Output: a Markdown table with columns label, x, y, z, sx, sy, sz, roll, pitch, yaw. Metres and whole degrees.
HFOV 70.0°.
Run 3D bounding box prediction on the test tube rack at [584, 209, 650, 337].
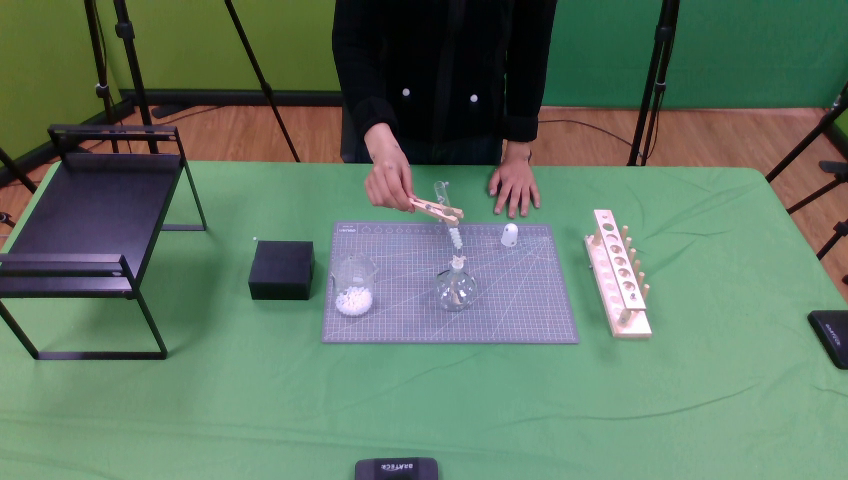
| label | x | y | z | sx | sy | sz | roll | pitch | yaw |
| --- | --- | --- | --- | --- | --- | --- | --- | --- | --- |
| test tube rack | 0.365 | 0.056 | 1.129 | 0.067 | 0.085 | 0.240 | 1 | 46 | -3 |

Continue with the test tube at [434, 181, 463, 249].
| label | x | y | z | sx | sy | sz | roll | pitch | yaw |
| --- | --- | --- | --- | --- | --- | --- | --- | --- | --- |
| test tube | 0.039 | -0.036 | 0.949 | 0.017 | 0.151 | 0.017 | -9 | 49 | 11 |

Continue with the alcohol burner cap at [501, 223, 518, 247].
| label | x | y | z | sx | sy | sz | roll | pitch | yaw |
| --- | --- | --- | --- | --- | --- | --- | --- | --- | --- |
| alcohol burner cap | 0.172 | -0.013 | 1.207 | 0.034 | 0.048 | 0.033 | 1 | 45 | -1 |

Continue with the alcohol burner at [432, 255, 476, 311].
| label | x | y | z | sx | sy | sz | roll | pitch | yaw |
| --- | --- | --- | --- | --- | --- | --- | --- | --- | --- |
| alcohol burner | 0.055 | 0.070 | 1.068 | 0.078 | 0.119 | 0.077 | 3 | 45 | -3 |

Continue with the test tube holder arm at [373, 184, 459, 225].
| label | x | y | z | sx | sy | sz | roll | pitch | yaw |
| --- | --- | --- | --- | --- | --- | --- | --- | --- | --- |
| test tube holder arm | -0.017 | -0.059 | 0.978 | 0.177 | 0.015 | 0.013 | 22 | 57 | 33 |

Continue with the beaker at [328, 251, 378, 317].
| label | x | y | z | sx | sy | sz | roll | pitch | yaw |
| --- | --- | --- | --- | --- | --- | --- | --- | --- | --- |
| beaker | -0.122 | 0.080 | 1.055 | 0.084 | 0.101 | 0.073 | 0 | 47 | -5 |

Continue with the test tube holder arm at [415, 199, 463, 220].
| label | x | y | z | sx | sy | sz | roll | pitch | yaw |
| --- | --- | --- | --- | --- | --- | --- | --- | --- | --- |
| test tube holder arm | 0.022 | -0.049 | 0.957 | 0.087 | 0.015 | 0.010 | 16 | 55 | 29 |
